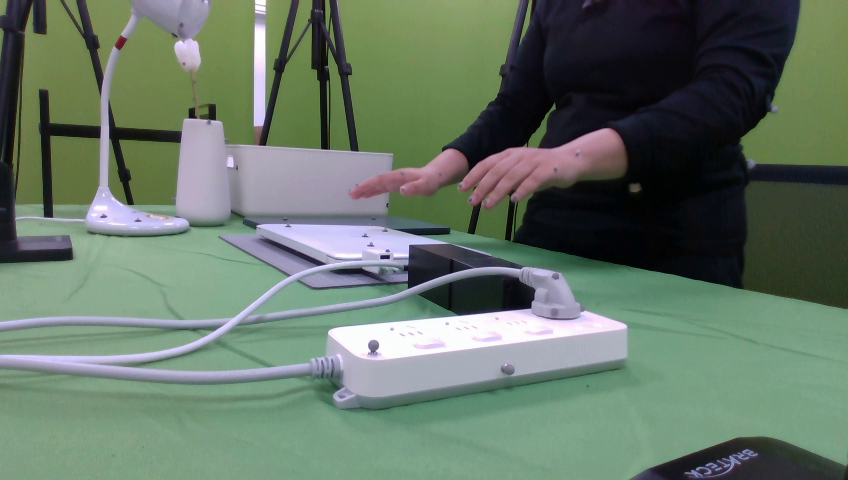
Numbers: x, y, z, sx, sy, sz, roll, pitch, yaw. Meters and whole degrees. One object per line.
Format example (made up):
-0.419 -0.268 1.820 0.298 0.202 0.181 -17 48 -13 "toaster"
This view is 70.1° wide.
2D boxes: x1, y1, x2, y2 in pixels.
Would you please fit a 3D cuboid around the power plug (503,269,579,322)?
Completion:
0.091 0.051 0.469 0.035 0.052 0.072 0 6 -18 "power plug"

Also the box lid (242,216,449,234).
-0.162 -0.030 1.233 0.373 0.015 0.262 -1 8 -32 "box lid"

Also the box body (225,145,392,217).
-0.289 -0.143 1.475 0.366 0.160 0.253 -1 9 -29 "box body"

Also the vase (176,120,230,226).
-0.425 -0.128 1.159 0.098 0.200 0.098 2 9 0 "vase"

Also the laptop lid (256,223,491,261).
-0.092 0.000 0.912 0.243 0.013 0.355 1 7 -30 "laptop lid"

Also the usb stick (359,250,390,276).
-0.061 0.026 0.709 0.021 0.027 0.059 0 2 -30 "usb stick"

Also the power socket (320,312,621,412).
0.038 0.075 0.409 0.228 0.032 0.072 -2 8 -29 "power socket"

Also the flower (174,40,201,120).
-0.430 -0.211 1.165 0.044 0.361 0.038 -10 -5 -24 "flower"

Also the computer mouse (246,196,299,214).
-0.354 -0.083 1.418 0.117 0.041 0.063 0 10 7 "computer mouse"

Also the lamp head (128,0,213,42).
-0.423 -0.394 0.980 0.123 0.112 0.112 20 7 -3 "lamp head"

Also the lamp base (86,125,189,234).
-0.497 -0.105 1.027 0.179 0.180 0.160 1 7 3 "lamp base"

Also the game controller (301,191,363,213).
-0.240 -0.098 1.550 0.155 0.051 0.097 3 9 5 "game controller"

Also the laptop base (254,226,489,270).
-0.096 0.011 0.911 0.237 0.023 0.352 3 6 -32 "laptop base"
